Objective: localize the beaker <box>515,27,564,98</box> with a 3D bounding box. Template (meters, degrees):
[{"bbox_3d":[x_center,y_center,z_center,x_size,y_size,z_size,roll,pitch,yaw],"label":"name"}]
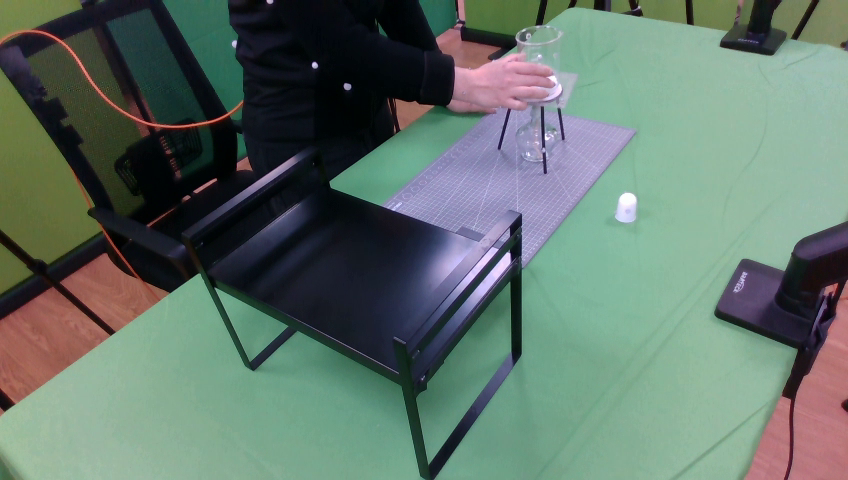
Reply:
[{"bbox_3d":[0.198,-0.302,1.033,0.084,0.101,0.073,-14,41,-6],"label":"beaker"}]

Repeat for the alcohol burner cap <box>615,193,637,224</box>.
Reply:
[{"bbox_3d":[0.327,-0.053,0.974,0.034,0.048,0.033,-4,38,4],"label":"alcohol burner cap"}]

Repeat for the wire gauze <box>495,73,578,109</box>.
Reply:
[{"bbox_3d":[0.200,-0.266,1.066,0.124,0.011,0.121,8,41,23],"label":"wire gauze"}]

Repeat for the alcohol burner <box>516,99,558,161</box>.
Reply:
[{"bbox_3d":[0.208,-0.206,1.110,0.078,0.119,0.077,-3,41,3],"label":"alcohol burner"}]

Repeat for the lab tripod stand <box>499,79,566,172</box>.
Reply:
[{"bbox_3d":[0.204,-0.215,1.107,0.148,0.132,0.147,-5,41,5],"label":"lab tripod stand"}]
